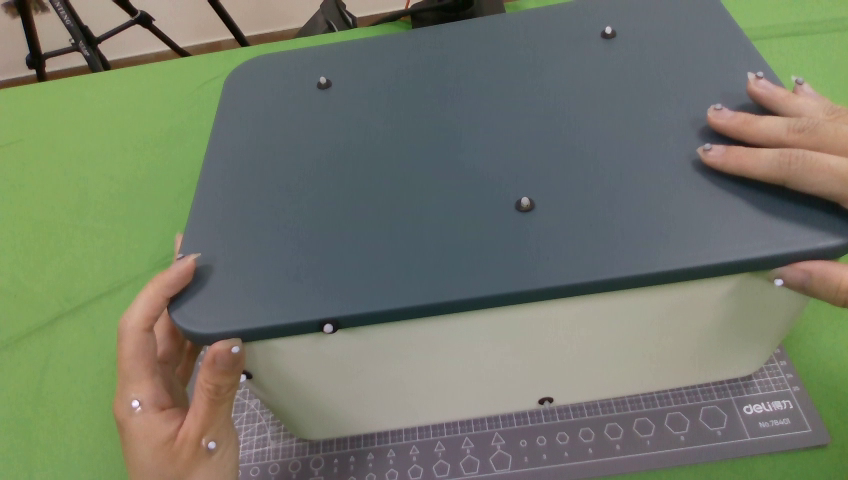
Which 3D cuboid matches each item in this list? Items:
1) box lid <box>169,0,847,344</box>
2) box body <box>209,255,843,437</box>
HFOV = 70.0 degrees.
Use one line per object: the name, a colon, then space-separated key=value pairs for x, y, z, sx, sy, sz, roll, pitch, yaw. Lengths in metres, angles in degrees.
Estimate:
box lid: x=0.036 y=-0.068 z=0.384 sx=0.371 sy=0.015 sz=0.260 roll=-8 pitch=49 yaw=4
box body: x=0.052 y=-0.016 z=0.446 sx=0.364 sy=0.162 sz=0.251 roll=-9 pitch=49 yaw=3
